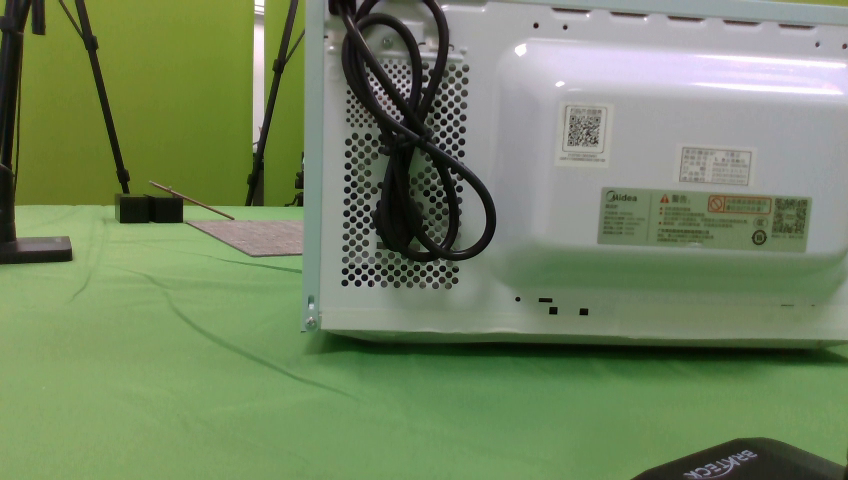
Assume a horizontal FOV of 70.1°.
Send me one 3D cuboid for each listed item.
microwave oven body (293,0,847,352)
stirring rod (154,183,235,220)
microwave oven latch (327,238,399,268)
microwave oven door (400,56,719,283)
[{"bbox_3d":[0.122,-0.055,0.550,0.442,0.260,0.325,3,7,-5],"label":"microwave oven body"},{"bbox_3d":[-0.472,-0.079,1.252,0.177,0.006,0.014,27,4,-35],"label":"stirring rod"},{"bbox_3d":[-0.069,0.015,0.694,0.079,0.029,0.030,3,7,-3],"label":"microwave oven latch"},{"bbox_3d":[0.155,-0.077,0.697,0.356,0.243,0.039,2,8,-5],"label":"microwave oven door"}]
